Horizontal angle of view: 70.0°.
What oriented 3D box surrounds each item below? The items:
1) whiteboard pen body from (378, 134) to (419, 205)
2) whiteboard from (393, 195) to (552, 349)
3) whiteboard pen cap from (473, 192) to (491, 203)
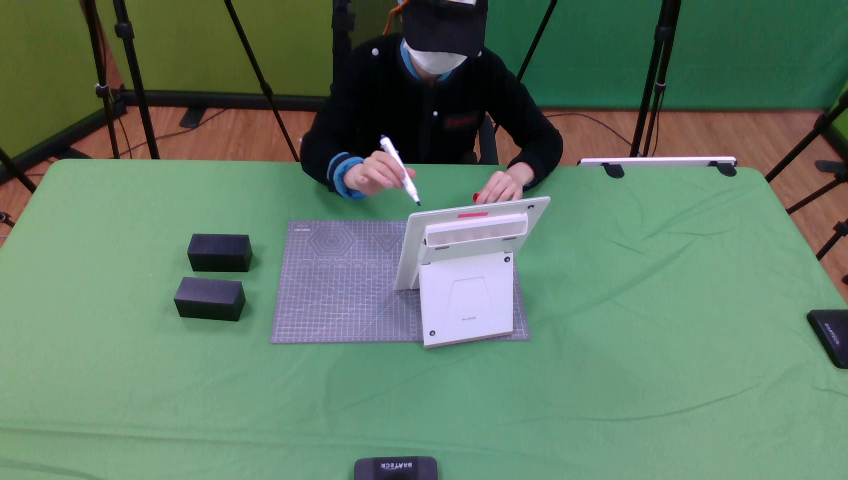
[{"bbox_3d":[-0.041,-0.117,1.006,0.017,0.017,0.140,-22,74,-23],"label":"whiteboard pen body"},{"bbox_3d":[0.077,0.071,0.977,0.217,0.306,0.143,-7,66,-11],"label":"whiteboard"},{"bbox_3d":[0.112,-0.083,1.178,0.032,0.017,0.017,10,46,-8],"label":"whiteboard pen cap"}]
